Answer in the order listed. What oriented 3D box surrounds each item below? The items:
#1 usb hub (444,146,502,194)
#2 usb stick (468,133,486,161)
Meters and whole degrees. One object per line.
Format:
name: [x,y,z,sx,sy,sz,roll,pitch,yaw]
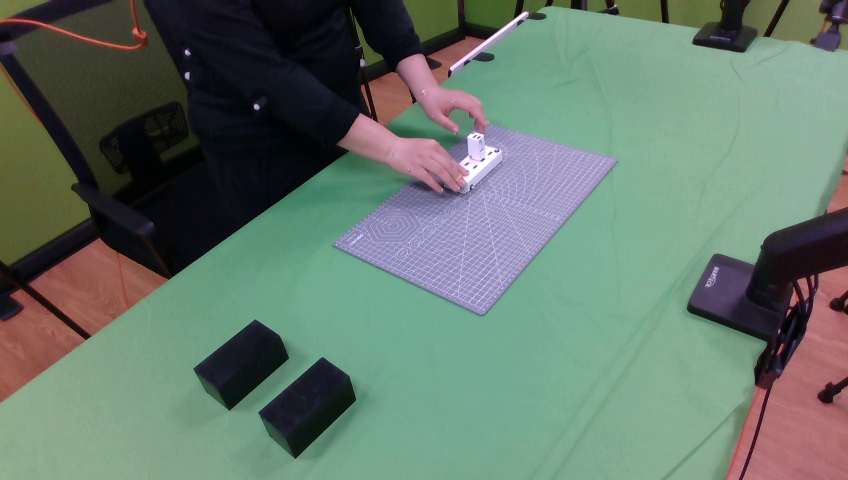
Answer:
usb hub: [0.091,-0.129,1.103,0.049,0.025,0.125,23,49,30]
usb stick: [0.096,-0.162,1.095,0.027,0.059,0.021,21,49,27]
